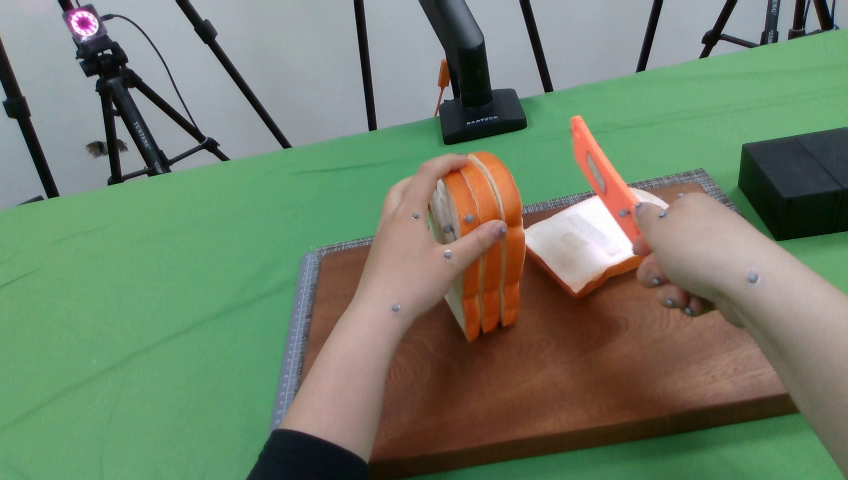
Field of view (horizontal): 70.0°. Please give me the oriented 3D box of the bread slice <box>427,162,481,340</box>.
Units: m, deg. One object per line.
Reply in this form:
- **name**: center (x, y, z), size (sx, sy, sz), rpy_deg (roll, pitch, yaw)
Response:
- **bread slice**: center (0.024, 0.001, 0.519), size (0.018, 0.135, 0.106), rpy_deg (-12, 33, -11)

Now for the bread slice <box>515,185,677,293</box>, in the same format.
- **bread slice**: center (0.166, -0.007, 0.563), size (0.131, 0.019, 0.103), rpy_deg (-26, 36, -8)

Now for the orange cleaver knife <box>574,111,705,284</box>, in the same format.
- **orange cleaver knife**: center (0.156, -0.028, 0.466), size (0.012, 0.078, 0.209), rpy_deg (-21, 40, 4)
